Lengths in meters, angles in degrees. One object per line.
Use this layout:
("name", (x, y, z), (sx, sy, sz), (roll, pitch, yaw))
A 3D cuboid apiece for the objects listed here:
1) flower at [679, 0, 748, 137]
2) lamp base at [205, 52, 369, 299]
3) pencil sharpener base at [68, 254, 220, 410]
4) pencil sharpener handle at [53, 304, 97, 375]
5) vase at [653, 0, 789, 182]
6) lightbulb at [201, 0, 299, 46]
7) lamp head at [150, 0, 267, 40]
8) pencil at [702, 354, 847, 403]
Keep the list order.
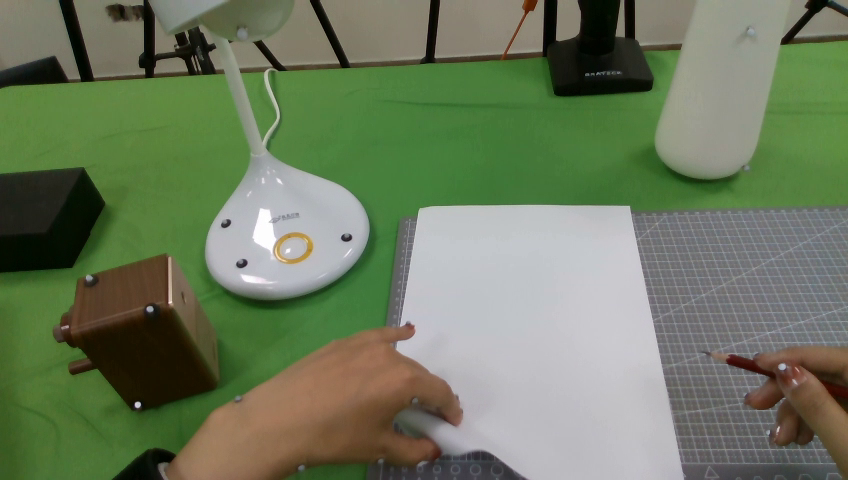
("flower", (0.268, -0.198, 0.508), (0.038, 0.365, 0.043), (-43, 67, -15))
("lamp base", (-0.147, -0.066, 0.553), (0.161, 0.182, 0.177), (-24, 45, -17))
("pencil sharpener base", (-0.214, 0.074, 0.470), (0.077, 0.108, 0.060), (-16, 46, -9))
("pencil sharpener handle", (-0.264, 0.079, 0.454), (0.031, 0.068, 0.035), (-16, 48, -9))
("vase", (0.282, -0.154, 0.580), (0.098, 0.202, 0.097), (-4, 43, 4))
("lightbulb", (-0.105, -0.160, 0.325), (0.059, 0.108, 0.059), (-13, 21, 6))
("lamp head", (-0.115, -0.184, 0.322), (0.112, 0.123, 0.111), (-24, 18, 9))
("pencil", (0.242, 0.088, 0.331), (0.012, 0.012, 0.192), (-35, 24, -26))
